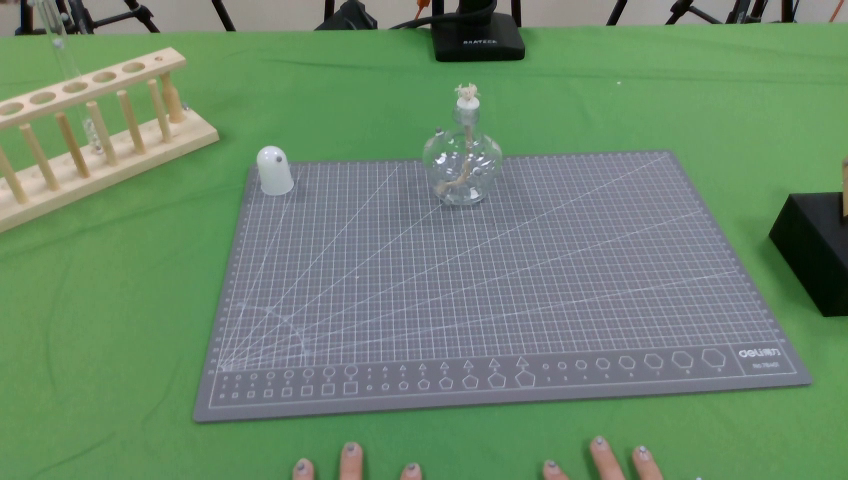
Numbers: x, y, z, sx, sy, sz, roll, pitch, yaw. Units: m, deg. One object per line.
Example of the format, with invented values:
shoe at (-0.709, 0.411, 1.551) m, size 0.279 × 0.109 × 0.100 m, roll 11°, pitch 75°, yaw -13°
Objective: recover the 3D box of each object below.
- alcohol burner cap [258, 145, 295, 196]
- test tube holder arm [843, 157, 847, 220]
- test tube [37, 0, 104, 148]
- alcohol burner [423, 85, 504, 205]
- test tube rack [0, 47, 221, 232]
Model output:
alcohol burner cap at (-0.145, -0.071, 0.590) m, size 0.034 × 0.048 × 0.033 m, roll 1°, pitch 45°, yaw -1°
test tube holder arm at (0.376, -0.046, 0.529) m, size 0.010 × 0.015 × 0.087 m, roll 19°, pitch 48°, yaw 16°
test tube at (-0.331, -0.156, 0.575) m, size 0.017 × 0.151 × 0.017 m, roll 1°, pitch 38°, yaw 0°
alcohol burner at (0.038, -0.092, 0.565) m, size 0.078 × 0.120 × 0.077 m, roll 2°, pitch 45°, yaw -1°
test tube rack at (-0.332, -0.102, 0.590) m, size 0.242 × 0.086 × 0.066 m, roll -32°, pitch 53°, yaw -30°
